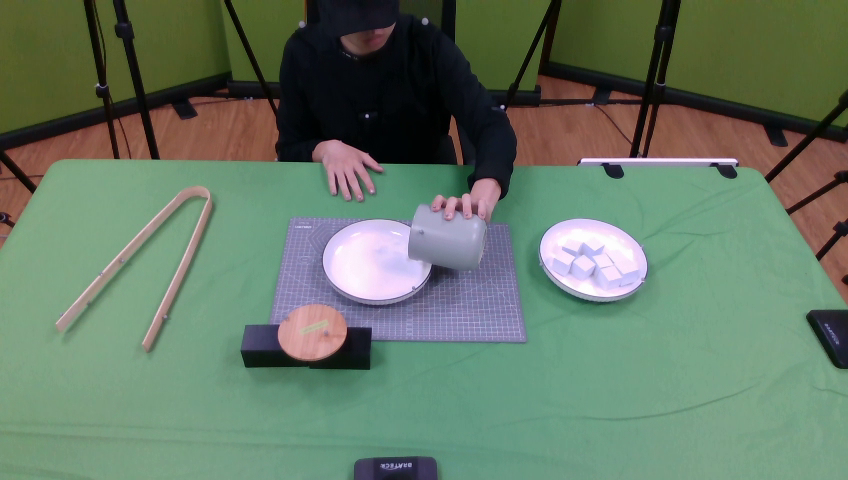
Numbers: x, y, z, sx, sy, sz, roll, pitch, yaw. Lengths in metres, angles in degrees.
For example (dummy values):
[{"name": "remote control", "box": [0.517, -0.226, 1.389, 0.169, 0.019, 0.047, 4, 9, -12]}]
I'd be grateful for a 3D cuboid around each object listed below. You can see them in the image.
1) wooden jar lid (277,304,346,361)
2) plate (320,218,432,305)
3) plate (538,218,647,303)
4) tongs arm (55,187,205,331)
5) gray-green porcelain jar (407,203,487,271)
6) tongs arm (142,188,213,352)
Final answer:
[{"name": "wooden jar lid", "box": [-0.179, 0.150, 0.972, 0.108, 0.021, 0.107, 2, 45, -2]}, {"name": "plate", "box": [-0.089, 0.044, 1.134, 0.209, 0.038, 0.208, 3, 46, -2]}, {"name": "plate", "box": [0.322, 0.043, 1.171, 0.208, 0.039, 0.206, 2, 46, -2]}, {"name": "tongs arm", "box": [-0.530, 0.022, 1.125, 0.051, 0.026, 0.383, 15, 46, 8]}, {"name": "gray-green porcelain jar", "box": [0.044, -0.003, 1.090, 0.126, 0.106, 0.105, 12, 46, 10]}, {"name": "tongs arm", "box": [-0.449, 0.040, 1.122, 0.028, 0.028, 0.385, 2, 46, 1]}]
